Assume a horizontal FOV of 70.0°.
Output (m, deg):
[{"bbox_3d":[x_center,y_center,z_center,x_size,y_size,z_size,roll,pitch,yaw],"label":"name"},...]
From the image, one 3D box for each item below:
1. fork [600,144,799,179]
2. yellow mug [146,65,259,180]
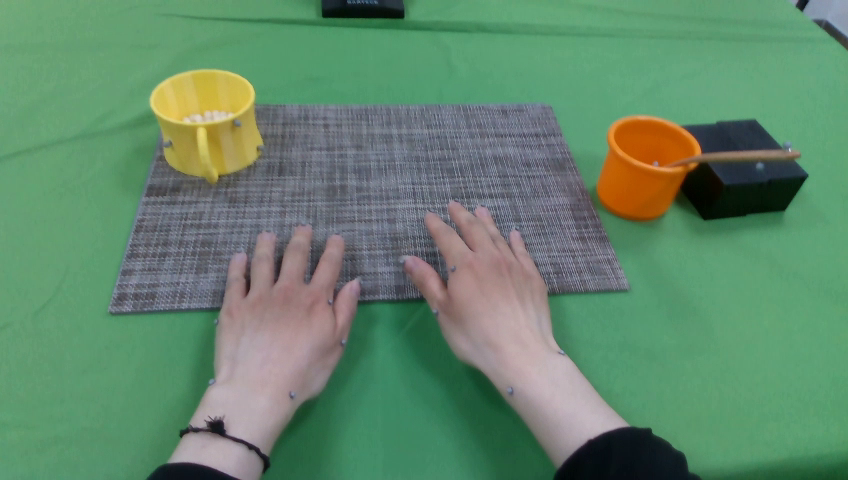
[{"bbox_3d":[0.247,-0.074,0.571,0.028,0.019,0.206,-27,11,-26],"label":"fork"},{"bbox_3d":[-0.221,-0.115,0.613,0.100,0.064,0.129,-7,49,-12],"label":"yellow mug"}]
